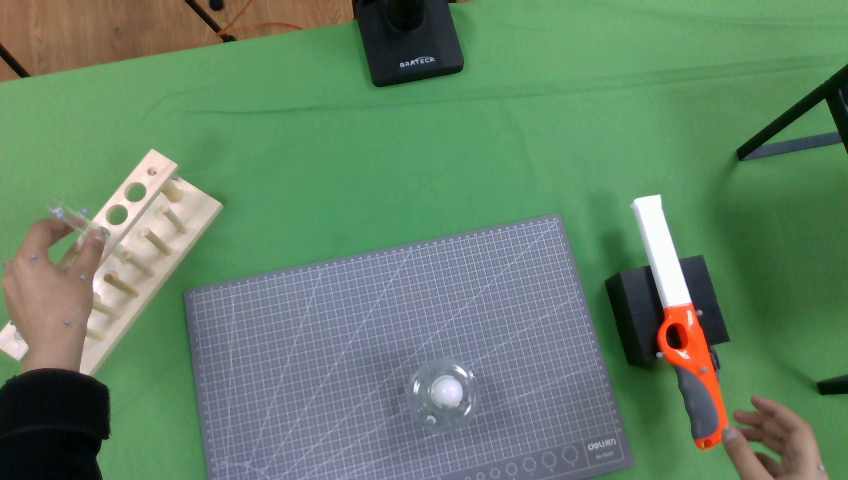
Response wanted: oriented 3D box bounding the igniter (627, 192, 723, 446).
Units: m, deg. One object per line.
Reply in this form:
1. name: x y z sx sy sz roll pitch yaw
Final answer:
1. igniter: 0.271 0.079 0.659 0.057 0.025 0.275 -9 74 -4

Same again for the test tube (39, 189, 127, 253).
1. test tube: -0.335 -0.015 0.606 0.017 0.151 0.017 1 71 -1

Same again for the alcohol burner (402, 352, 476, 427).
1. alcohol burner: 0.017 0.153 0.622 0.078 0.119 0.077 1 73 -4

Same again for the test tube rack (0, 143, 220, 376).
1. test tube rack: -0.329 0.023 0.648 0.066 0.085 0.241 32 76 5

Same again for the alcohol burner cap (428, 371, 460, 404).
1. alcohol burner cap: 0.020 0.144 0.588 0.034 0.048 0.033 0 79 0
